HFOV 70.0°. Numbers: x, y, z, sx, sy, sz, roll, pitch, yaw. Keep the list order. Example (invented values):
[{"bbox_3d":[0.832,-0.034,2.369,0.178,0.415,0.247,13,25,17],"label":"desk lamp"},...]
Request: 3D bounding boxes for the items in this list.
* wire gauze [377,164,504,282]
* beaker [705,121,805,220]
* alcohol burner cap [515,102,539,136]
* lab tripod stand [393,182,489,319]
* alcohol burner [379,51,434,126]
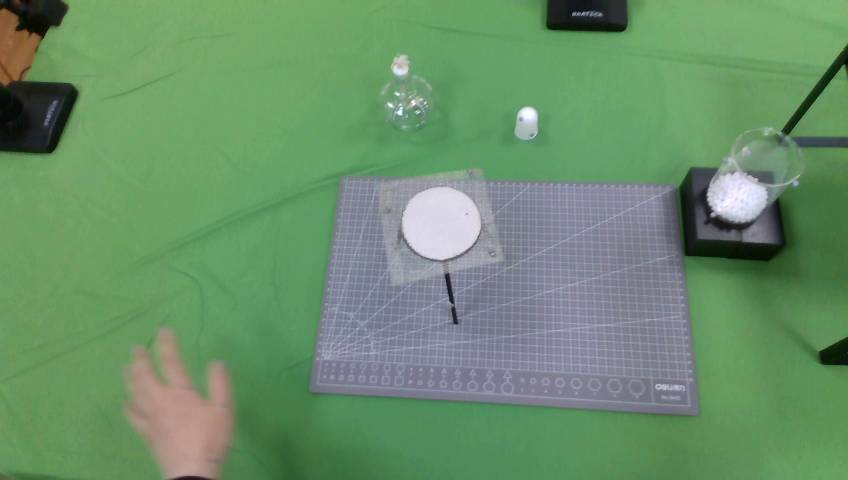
[{"bbox_3d":[0.015,-0.023,0.652,0.121,0.011,0.124,-9,67,-1],"label":"wire gauze"},{"bbox_3d":[0.369,-0.076,0.688,0.074,0.101,0.083,12,67,10],"label":"beaker"},{"bbox_3d":[0.143,-0.169,0.834,0.034,0.048,0.033,-3,67,6],"label":"alcohol burner cap"},{"bbox_3d":[0.024,0.006,0.712,0.148,0.132,0.147,-1,67,2],"label":"lab tripod stand"},{"bbox_3d":[-0.026,-0.211,0.825,0.078,0.120,0.077,-3,64,6],"label":"alcohol burner"}]
